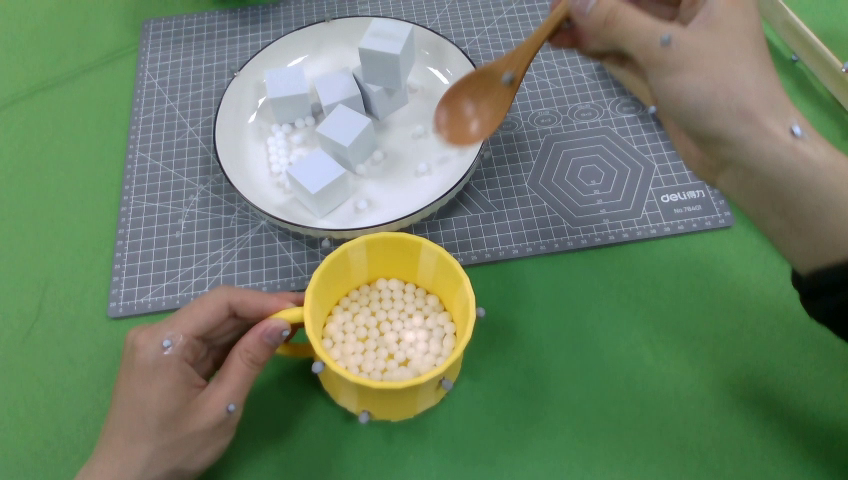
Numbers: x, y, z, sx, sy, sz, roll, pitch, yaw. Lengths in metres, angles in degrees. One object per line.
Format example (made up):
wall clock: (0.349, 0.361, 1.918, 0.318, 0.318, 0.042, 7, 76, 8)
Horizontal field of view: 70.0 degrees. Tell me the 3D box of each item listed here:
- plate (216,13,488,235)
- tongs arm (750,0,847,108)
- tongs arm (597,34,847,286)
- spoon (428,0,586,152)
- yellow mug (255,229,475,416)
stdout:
plate: (-0.052, -0.090, 0.470, 0.207, 0.039, 0.206, -1, 62, 3)
tongs arm: (0.331, -0.060, 0.438, 0.051, 0.027, 0.381, -21, 64, -9)
tongs arm: (0.259, -0.026, 0.425, 0.028, 0.028, 0.384, -32, 66, -18)
spoon: (0.070, -0.116, 0.328, 0.022, 0.194, 0.041, -19, 72, -53)
yellow mug: (-0.037, 0.053, 0.372, 0.131, 0.064, 0.099, -5, 60, -7)
